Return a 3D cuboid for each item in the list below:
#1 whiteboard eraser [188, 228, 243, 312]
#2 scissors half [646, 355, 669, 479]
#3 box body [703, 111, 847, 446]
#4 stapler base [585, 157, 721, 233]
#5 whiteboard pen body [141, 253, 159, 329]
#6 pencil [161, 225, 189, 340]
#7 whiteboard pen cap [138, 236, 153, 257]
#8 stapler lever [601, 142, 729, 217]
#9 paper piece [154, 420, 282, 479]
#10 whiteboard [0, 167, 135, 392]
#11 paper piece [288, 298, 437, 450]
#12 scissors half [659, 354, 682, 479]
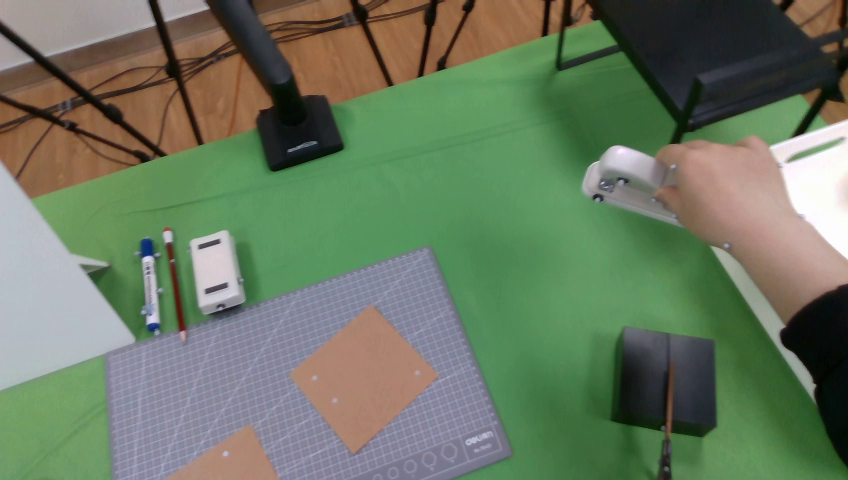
[{"bbox_3d":[-0.283,0.041,0.822,0.055,0.042,0.111,-20,60,-5],"label":"whiteboard eraser"},{"bbox_3d":[0.254,0.211,0.652,0.013,0.040,0.174,9,80,-3],"label":"scissors half"},{"bbox_3d":[0.521,0.046,0.670,0.254,0.162,0.360,-19,60,-5],"label":"box body"},{"bbox_3d":[0.222,-0.048,0.578,0.130,0.024,0.041,21,76,10],"label":"stapler base"},{"bbox_3d":[-0.379,0.059,0.834,0.017,0.017,0.139,-18,60,-5],"label":"whiteboard pen body"},{"bbox_3d":[-0.343,0.056,0.836,0.012,0.012,0.192,-21,60,-7],"label":"pencil"},{"bbox_3d":[-0.396,0.011,0.862,0.018,0.018,0.033,-20,59,-6],"label":"whiteboard pen cap"},{"bbox_3d":[0.221,-0.057,0.554,0.117,0.040,0.026,21,76,11],"label":"stapler lever"},{"bbox_3d":[-0.229,0.295,0.684,0.135,0.004,0.134,-32,63,-14],"label":"paper piece"},{"bbox_3d":[-0.527,0.019,0.739,0.217,0.308,0.142,-19,40,-5],"label":"whiteboard"},{"bbox_3d":[-0.078,0.162,0.748,0.136,0.009,0.137,-41,66,-12],"label":"paper piece"},{"bbox_3d":[0.255,0.204,0.633,0.013,0.040,0.174,7,63,2],"label":"scissors half"}]
